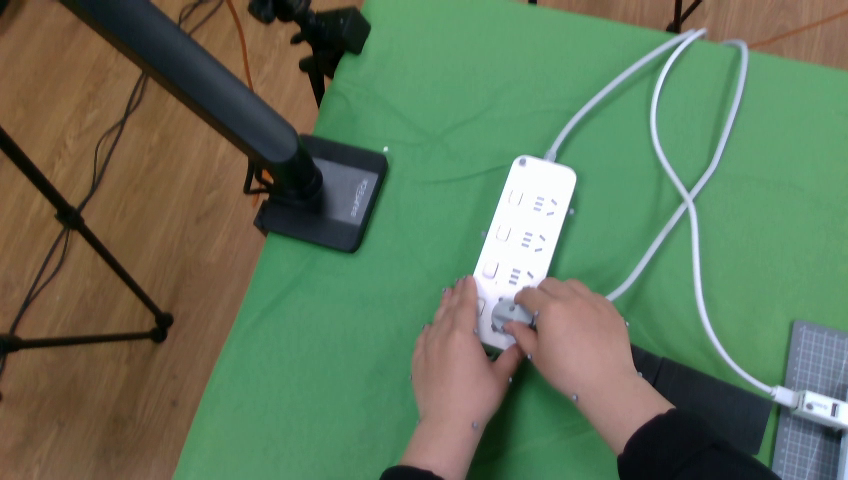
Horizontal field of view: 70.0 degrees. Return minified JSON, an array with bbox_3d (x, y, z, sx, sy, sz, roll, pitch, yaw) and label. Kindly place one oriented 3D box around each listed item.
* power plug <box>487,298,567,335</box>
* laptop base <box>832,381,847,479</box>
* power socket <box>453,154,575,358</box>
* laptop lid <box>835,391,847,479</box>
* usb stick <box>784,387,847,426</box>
[{"bbox_3d":[0.094,0.084,0.585,0.072,0.053,0.035,34,74,10],"label":"power plug"},{"bbox_3d":[0.530,0.281,0.522,0.353,0.023,0.234,16,77,8],"label":"laptop base"},{"bbox_3d":[0.095,0.011,0.628,0.072,0.033,0.226,19,74,9],"label":"power socket"},{"bbox_3d":[0.528,0.280,0.510,0.356,0.013,0.240,18,76,9],"label":"laptop lid"},{"bbox_3d":[0.369,0.157,0.559,0.059,0.027,0.021,20,71,3],"label":"usb stick"}]
